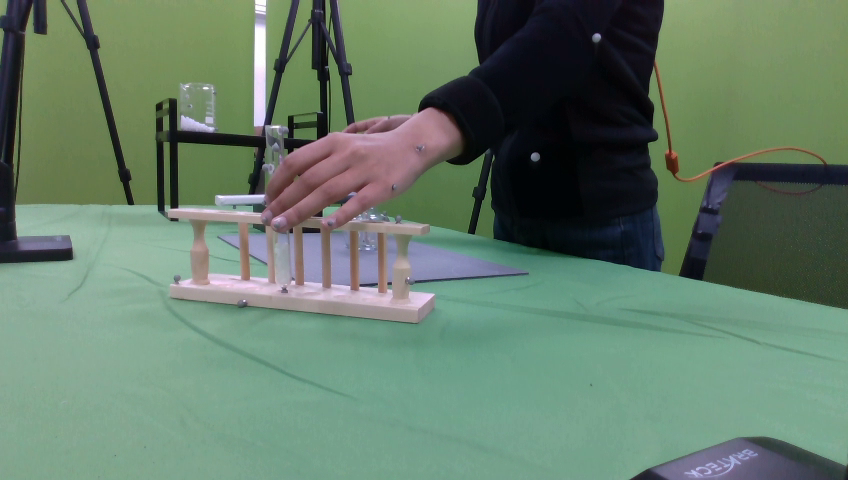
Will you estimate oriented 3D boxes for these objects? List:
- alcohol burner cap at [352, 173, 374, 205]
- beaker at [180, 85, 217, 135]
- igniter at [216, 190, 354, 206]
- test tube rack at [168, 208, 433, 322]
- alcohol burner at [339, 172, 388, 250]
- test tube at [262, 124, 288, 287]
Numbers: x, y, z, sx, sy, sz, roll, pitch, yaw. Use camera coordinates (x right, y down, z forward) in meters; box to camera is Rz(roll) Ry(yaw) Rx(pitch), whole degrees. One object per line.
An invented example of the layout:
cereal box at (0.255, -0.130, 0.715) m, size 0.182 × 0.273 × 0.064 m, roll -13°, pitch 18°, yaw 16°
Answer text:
alcohol burner cap at (-0.093, -0.080, 0.935) m, size 0.034 × 0.048 × 0.034 m, roll 6°, pitch 10°, yaw -1°
beaker at (-0.478, -0.275, 1.279) m, size 0.074 × 0.100 × 0.084 m, roll 4°, pitch 8°, yaw 15°
igniter at (-0.249, -0.079, 1.152) m, size 0.278 × 0.025 × 0.057 m, roll -4°, pitch 11°, yaw -27°
test tube rack at (-0.116, 0.018, 0.574) m, size 0.242 × 0.085 × 0.067 m, roll 4°, pitch 8°, yaw 13°
alcohol burner at (-0.094, -0.045, 0.939) m, size 0.078 × 0.119 × 0.078 m, roll 0°, pitch 7°, yaw 0°
test tube at (-0.136, -0.030, 0.552) m, size 0.017 × 0.150 × 0.017 m, roll -1°, pitch 10°, yaw 0°
